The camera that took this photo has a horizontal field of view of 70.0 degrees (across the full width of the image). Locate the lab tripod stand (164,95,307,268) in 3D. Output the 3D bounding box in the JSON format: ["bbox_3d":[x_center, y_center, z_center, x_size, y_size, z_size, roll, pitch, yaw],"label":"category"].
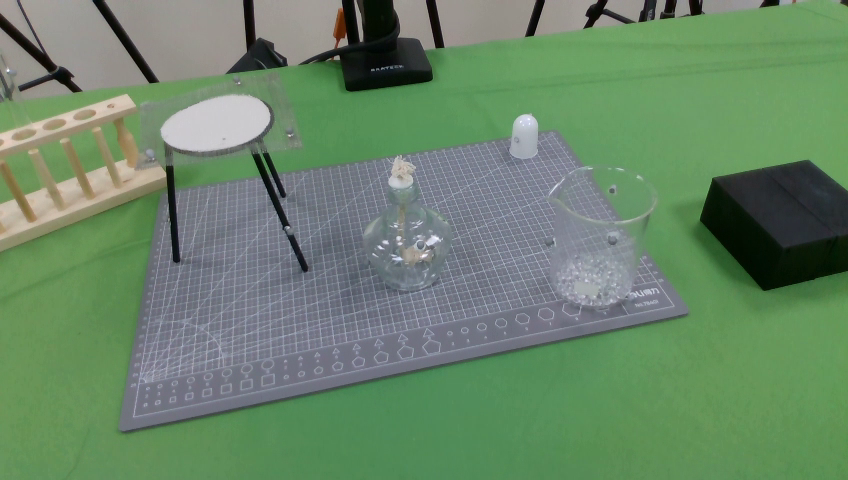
[{"bbox_3d":[-0.169,-0.048,0.542,0.148,0.133,0.147,-2,44,2],"label":"lab tripod stand"}]

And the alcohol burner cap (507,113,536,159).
[{"bbox_3d":[0.109,-0.117,0.670,0.034,0.048,0.033,-2,42,2],"label":"alcohol burner cap"}]

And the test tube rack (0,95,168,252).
[{"bbox_3d":[-0.396,-0.058,0.608,0.242,0.086,0.066,-27,47,-25],"label":"test tube rack"}]

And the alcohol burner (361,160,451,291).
[{"bbox_3d":[-0.017,-0.015,0.510,0.078,0.120,0.077,-2,40,2],"label":"alcohol burner"}]

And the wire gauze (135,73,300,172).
[{"bbox_3d":[-0.173,-0.098,0.497,0.125,0.011,0.120,-14,43,-11],"label":"wire gauze"}]

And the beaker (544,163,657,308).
[{"bbox_3d":[0.138,0.000,0.494,0.084,0.101,0.073,3,42,8],"label":"beaker"}]

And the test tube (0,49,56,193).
[{"bbox_3d":[-0.394,-0.112,0.594,0.017,0.151,0.017,0,35,0],"label":"test tube"}]
